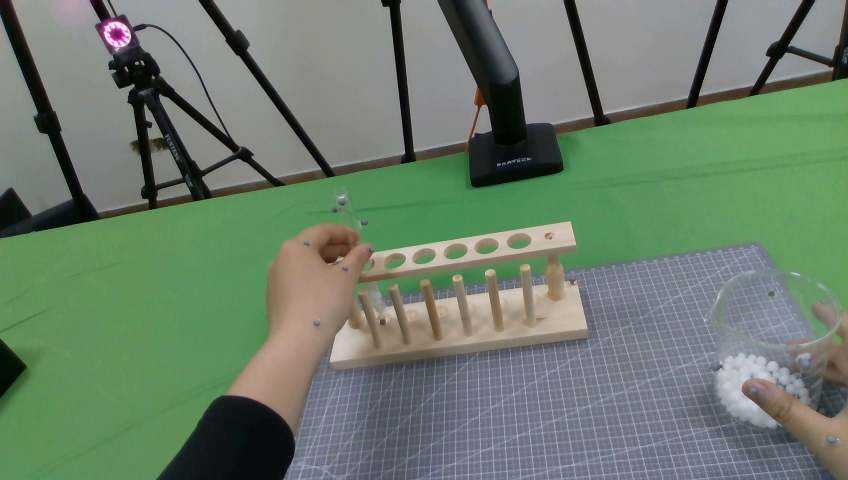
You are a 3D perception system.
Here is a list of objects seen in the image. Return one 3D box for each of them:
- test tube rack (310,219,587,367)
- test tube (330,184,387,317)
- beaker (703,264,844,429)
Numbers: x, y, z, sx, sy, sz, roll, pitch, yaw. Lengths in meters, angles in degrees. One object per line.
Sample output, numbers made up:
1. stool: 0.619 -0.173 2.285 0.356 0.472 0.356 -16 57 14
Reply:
1. test tube rack: 0.021 0.052 0.563 0.242 0.086 0.066 -9 37 10
2. test tube: -0.058 0.014 0.557 0.017 0.152 0.017 -9 36 7
3. beaker: 0.242 0.079 0.431 0.084 0.101 0.073 -9 37 12
